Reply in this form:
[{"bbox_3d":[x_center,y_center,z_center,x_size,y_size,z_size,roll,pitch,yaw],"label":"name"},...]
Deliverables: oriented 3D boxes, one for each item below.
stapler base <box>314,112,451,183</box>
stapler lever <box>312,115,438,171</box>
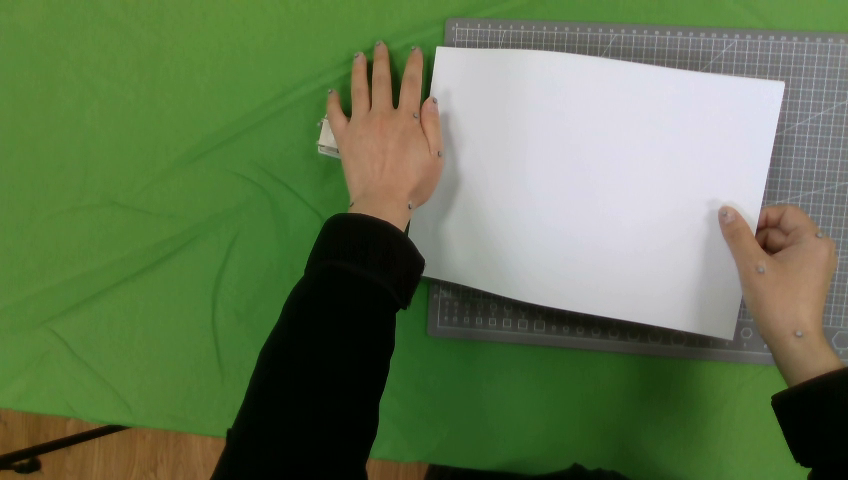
[{"bbox_3d":[-0.041,-0.088,0.566,0.130,0.024,0.041,15,91,6],"label":"stapler base"},{"bbox_3d":[-0.046,-0.088,0.543,0.118,0.040,0.027,15,90,6],"label":"stapler lever"}]
